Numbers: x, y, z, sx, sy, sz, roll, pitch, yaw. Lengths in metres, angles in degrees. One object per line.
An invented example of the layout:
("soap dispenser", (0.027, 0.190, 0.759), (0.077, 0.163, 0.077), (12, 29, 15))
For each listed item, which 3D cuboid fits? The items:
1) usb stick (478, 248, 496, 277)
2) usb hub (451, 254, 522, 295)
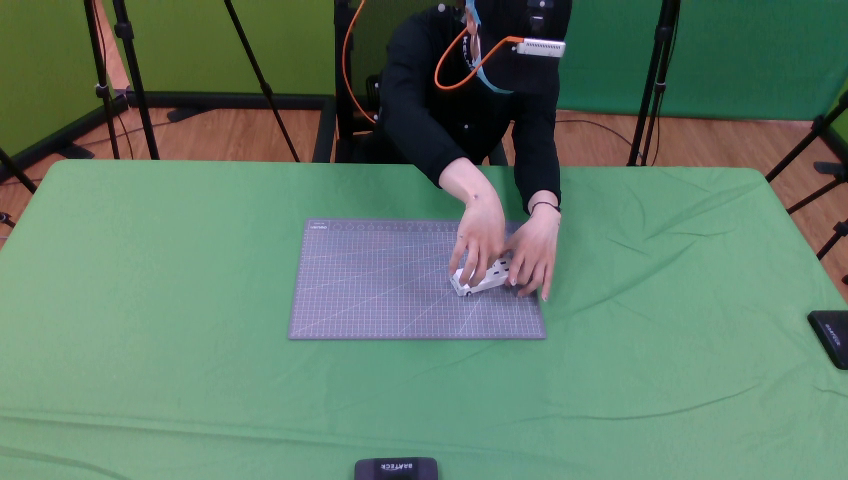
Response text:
("usb stick", (0.114, 0.045, 1.097), (0.021, 0.059, 0.027), (-25, 40, -21))
("usb hub", (0.116, 0.065, 1.133), (0.125, 0.025, 0.049), (-15, 49, -16))
